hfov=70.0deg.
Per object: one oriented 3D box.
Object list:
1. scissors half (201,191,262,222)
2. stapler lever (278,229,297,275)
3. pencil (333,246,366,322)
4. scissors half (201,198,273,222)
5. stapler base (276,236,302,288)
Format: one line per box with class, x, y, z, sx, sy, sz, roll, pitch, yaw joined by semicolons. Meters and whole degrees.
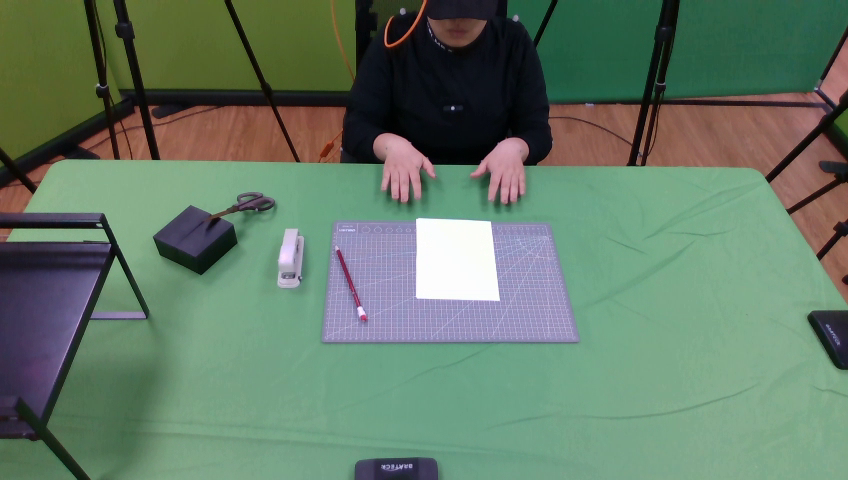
scissors half;-0.381;-0.066;1.198;0.040;0.013;0.175;25;28;9
stapler lever;-0.254;0.015;1.128;0.027;0.040;0.117;1;45;-7
pencil;-0.140;0.076;1.117;0.012;0.012;0.192;-14;48;-17
scissors half;-0.365;-0.055;1.192;0.040;0.013;0.175;39;32;22
stapler base;-0.254;0.034;1.144;0.041;0.024;0.129;1;44;-7
